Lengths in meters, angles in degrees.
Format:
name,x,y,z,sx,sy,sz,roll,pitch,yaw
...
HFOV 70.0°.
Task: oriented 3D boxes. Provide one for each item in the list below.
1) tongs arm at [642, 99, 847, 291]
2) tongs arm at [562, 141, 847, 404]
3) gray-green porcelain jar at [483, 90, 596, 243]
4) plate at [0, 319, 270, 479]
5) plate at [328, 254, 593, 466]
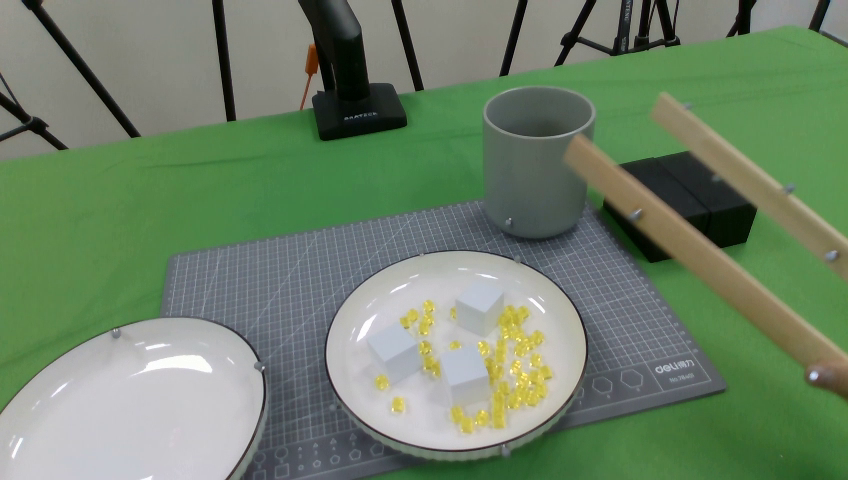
name,x,y,z,sx,sy,sz,roll,pitch,yaw
tongs arm,0.273,0.038,0.381,0.051,0.027,0.381,-28,63,-30
tongs arm,0.231,0.061,0.356,0.028,0.028,0.384,-31,64,-35
gray-green porcelain jar,0.112,-0.069,0.605,0.106,0.127,0.105,-3,40,3
plate,-0.216,0.147,0.449,0.209,0.038,0.207,-4,40,4
plate,0.028,0.092,0.490,0.207,0.039,0.205,-3,39,3
